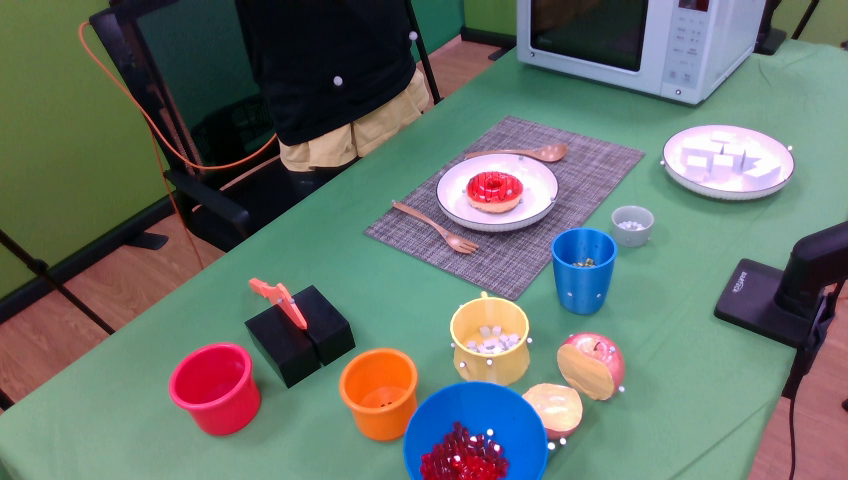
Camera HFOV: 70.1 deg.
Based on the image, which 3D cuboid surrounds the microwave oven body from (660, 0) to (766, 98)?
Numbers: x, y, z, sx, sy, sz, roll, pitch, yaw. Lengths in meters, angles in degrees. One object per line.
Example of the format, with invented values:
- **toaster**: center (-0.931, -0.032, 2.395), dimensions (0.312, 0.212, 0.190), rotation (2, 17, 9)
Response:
- **microwave oven body**: center (0.472, -0.513, 1.317), dimensions (0.438, 0.261, 0.327), rotation (26, 51, 34)

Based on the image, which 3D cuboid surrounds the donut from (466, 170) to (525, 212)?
- **donut**: center (0.121, -0.083, 1.019), dimensions (0.099, 0.048, 0.098), rotation (-4, 39, 4)

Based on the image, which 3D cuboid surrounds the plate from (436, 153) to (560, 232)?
- **plate**: center (0.125, -0.078, 1.029), dimensions (0.209, 0.038, 0.208), rotation (-4, 40, 4)

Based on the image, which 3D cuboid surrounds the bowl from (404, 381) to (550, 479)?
- **bowl**: center (0.058, 0.235, 0.645), dimensions (0.151, 0.077, 0.150), rotation (-4, 39, 4)

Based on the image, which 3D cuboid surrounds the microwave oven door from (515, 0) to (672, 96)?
- **microwave oven door**: center (0.344, -0.454, 1.259), dimensions (0.353, 0.245, 0.039), rotation (26, 51, 33)

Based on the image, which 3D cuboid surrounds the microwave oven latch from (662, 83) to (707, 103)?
- **microwave oven latch**: center (0.517, -0.296, 1.204), dimensions (0.078, 0.029, 0.030), rotation (28, 52, 35)

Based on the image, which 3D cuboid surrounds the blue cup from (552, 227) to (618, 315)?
- **blue cup**: center (0.218, 0.047, 0.825), dimensions (0.092, 0.100, 0.092), rotation (-6, 39, 5)

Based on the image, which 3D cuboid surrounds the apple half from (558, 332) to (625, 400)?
- **apple half**: center (0.208, 0.147, 0.731), dimensions (0.080, 0.075, 0.053), rotation (25, 46, 38)

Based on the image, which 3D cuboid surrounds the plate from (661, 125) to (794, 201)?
- **plate**: center (0.513, -0.128, 1.035), dimensions (0.207, 0.039, 0.206), rotation (-4, 40, 4)

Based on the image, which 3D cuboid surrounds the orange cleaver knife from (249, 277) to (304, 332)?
- **orange cleaver knife**: center (-0.210, 0.089, 0.855), dimensions (0.012, 0.077, 0.210), rotation (-27, 14, -25)

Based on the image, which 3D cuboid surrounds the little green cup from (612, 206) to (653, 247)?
- **little green cup**: center (0.321, -0.019, 0.936), dimensions (0.061, 0.039, 0.061), rotation (-4, 40, 4)

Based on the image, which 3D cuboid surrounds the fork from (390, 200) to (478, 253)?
- **fork**: center (0.011, -0.025, 0.998), dimensions (0.028, 0.019, 0.205), rotation (-40, 51, -21)

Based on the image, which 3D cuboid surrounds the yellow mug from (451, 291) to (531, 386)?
- **yellow mug**: center (0.086, 0.120, 0.786), dimensions (0.100, 0.064, 0.130), rotation (-7, 39, 1)

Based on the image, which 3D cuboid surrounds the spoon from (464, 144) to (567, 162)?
- **spoon**: center (0.170, -0.163, 1.135), dimensions (0.193, 0.022, 0.041), rotation (1, 60, 10)

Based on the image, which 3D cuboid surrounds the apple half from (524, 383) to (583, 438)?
- **apple half**: center (0.149, 0.204, 0.704), dimensions (0.081, 0.033, 0.081), rotation (-10, 25, 5)
